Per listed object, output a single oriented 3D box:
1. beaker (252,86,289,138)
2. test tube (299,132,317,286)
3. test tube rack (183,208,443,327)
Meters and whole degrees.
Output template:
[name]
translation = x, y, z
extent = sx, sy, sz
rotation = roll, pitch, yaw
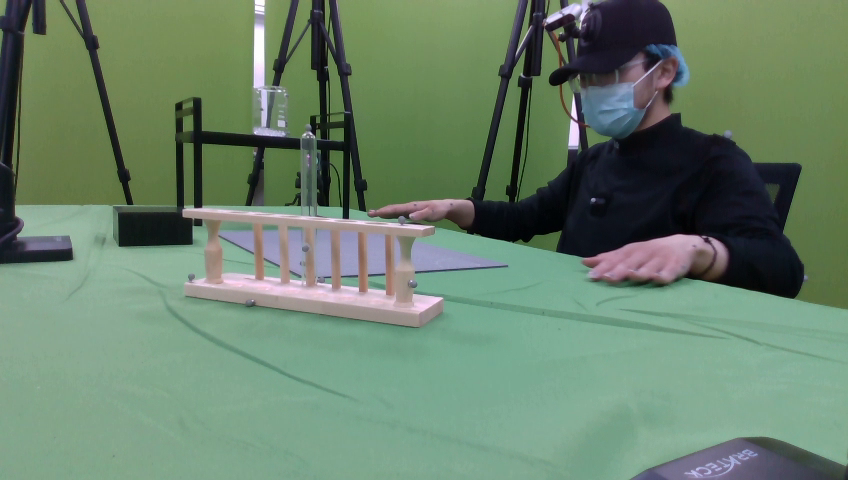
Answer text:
[beaker]
translation = -0.319, -0.263, 1.250
extent = 0.074, 0.100, 0.084
rotation = 5, 8, 21
[test tube]
translation = -0.113, -0.029, 0.588
extent = 0.017, 0.150, 0.017
rotation = 1, 7, 0
[test tube rack]
translation = -0.106, 0.019, 0.570
extent = 0.241, 0.085, 0.067
rotation = 5, 8, 19
